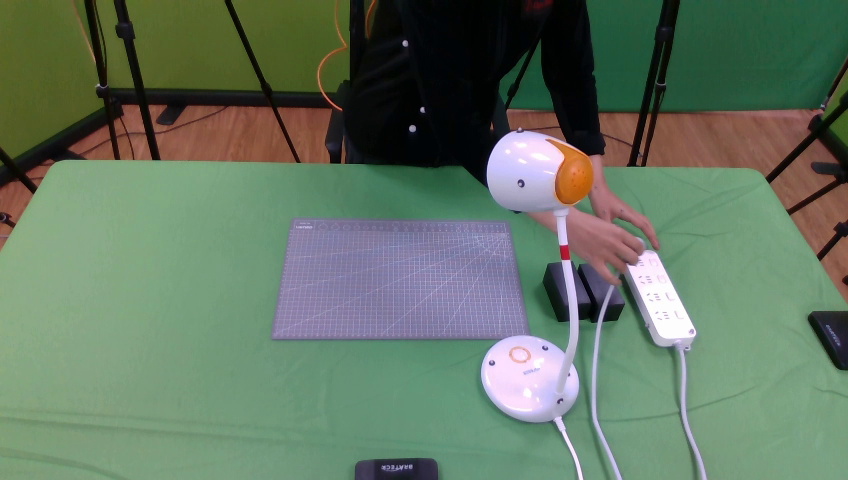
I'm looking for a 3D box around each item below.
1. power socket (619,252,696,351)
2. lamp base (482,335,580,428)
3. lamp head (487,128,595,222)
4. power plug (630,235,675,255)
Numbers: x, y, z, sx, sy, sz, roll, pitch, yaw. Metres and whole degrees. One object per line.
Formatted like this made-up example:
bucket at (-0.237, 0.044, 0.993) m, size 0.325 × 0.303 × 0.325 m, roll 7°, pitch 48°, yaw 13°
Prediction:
power socket at (0.428, 0.104, 1.121) m, size 0.072 × 0.033 × 0.225 m, roll -3°, pitch 46°, yaw -6°
lamp base at (0.185, 0.177, 0.928) m, size 0.161 × 0.181 × 0.178 m, roll -22°, pitch 53°, yaw -23°
lamp head at (0.160, -0.084, 0.791) m, size 0.112 × 0.113 × 0.122 m, roll -24°, pitch 28°, yaw -25°
power plug at (0.387, 0.014, 1.030) m, size 0.072 × 0.035 × 0.053 m, roll 21°, pitch 19°, yaw 24°
